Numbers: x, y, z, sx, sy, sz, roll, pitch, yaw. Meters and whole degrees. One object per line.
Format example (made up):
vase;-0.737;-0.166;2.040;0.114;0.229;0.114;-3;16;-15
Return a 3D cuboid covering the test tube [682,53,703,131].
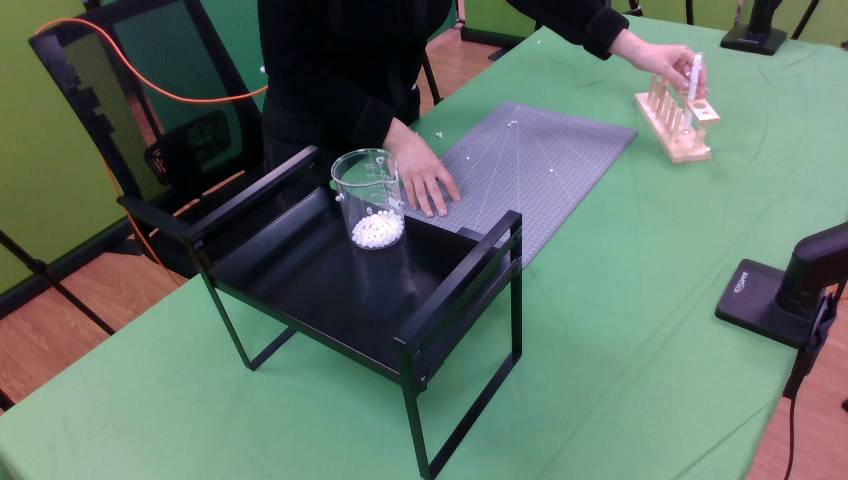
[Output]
test tube;0.479;-0.261;1.083;0.017;0.151;0.017;-6;41;6

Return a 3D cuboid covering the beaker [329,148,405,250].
beaker;-0.059;-0.044;0.699;0.083;0.101;0.074;19;47;27

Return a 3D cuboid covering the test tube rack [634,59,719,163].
test tube rack;0.471;-0.250;1.148;0.067;0.085;0.241;-6;40;3
